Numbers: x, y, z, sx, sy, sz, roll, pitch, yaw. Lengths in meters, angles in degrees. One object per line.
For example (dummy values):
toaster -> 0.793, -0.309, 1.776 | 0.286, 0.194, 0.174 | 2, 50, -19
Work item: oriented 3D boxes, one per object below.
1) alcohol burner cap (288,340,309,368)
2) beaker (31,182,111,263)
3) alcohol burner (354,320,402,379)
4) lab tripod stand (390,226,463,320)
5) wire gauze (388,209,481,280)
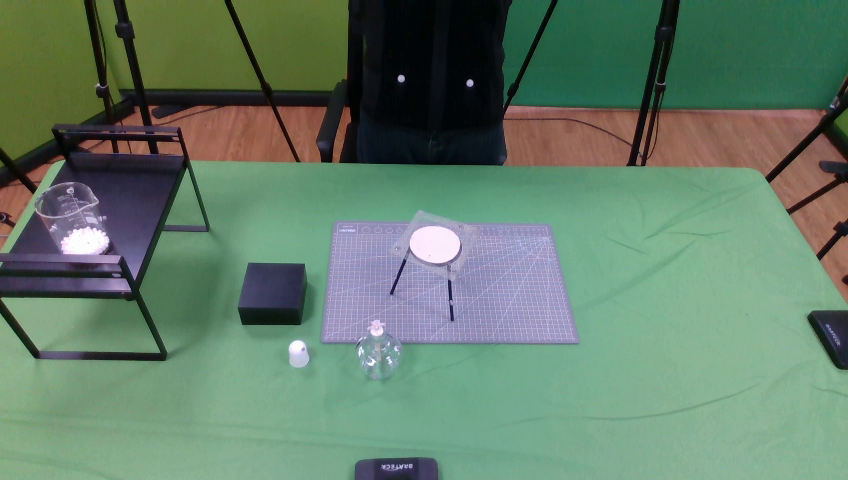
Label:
alcohol burner cap -> -0.207, 0.183, 0.991 | 0.034, 0.048, 0.033 | 3, 47, -3
beaker -> -0.502, -0.022, 0.877 | 0.084, 0.101, 0.073 | -2, 47, -7
alcohol burner -> -0.074, 0.169, 0.964 | 0.078, 0.120, 0.077 | 1, 46, -1
lab tripod stand -> 0.014, 0.053, 1.063 | 0.148, 0.132, 0.147 | 1, 48, -1
wire gauze -> 0.018, 0.002, 1.019 | 0.125, 0.011, 0.121 | 21, 49, 16
